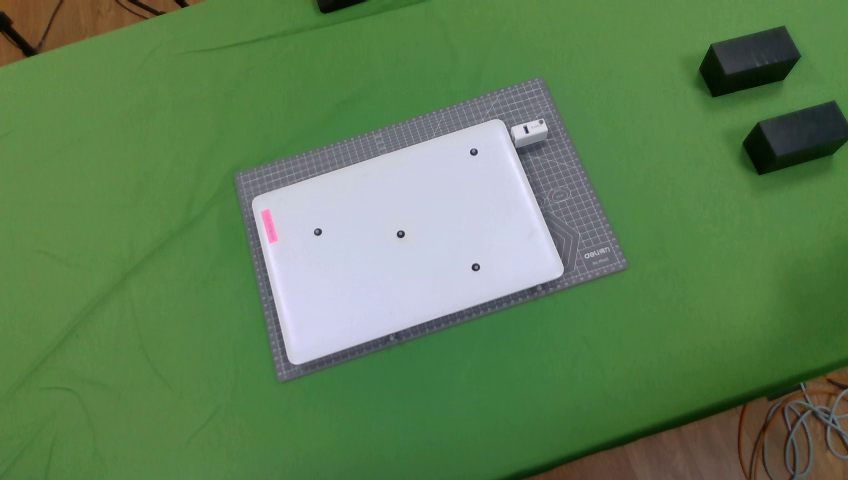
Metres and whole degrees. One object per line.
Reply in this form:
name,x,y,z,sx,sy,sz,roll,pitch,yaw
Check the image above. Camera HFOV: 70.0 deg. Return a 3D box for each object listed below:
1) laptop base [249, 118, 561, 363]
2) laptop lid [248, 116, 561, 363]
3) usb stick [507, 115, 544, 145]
laptop base,-0.032,-0.007,0.775,0.354,0.023,0.234,-19,72,-2
laptop lid,-0.032,-0.009,0.764,0.357,0.013,0.240,-17,71,-1
usb stick,0.126,-0.143,0.797,0.059,0.027,0.021,-17,69,1
